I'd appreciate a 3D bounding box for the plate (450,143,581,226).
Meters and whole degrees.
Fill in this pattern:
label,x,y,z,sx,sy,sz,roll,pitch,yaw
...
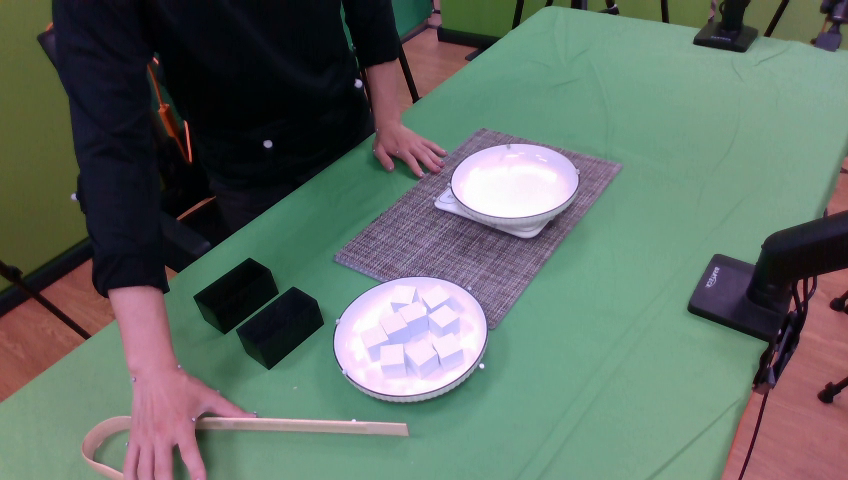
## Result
label,x,y,z,sx,sy,sz,roll,pitch,yaw
plate,0.148,-0.087,0.986,0.209,0.038,0.208,-4,41,4

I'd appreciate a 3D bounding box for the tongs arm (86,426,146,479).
label,x,y,z,sx,sy,sz,roll,pitch,yaw
tongs arm,-0.231,0.280,0.664,0.383,0.026,0.051,9,44,20

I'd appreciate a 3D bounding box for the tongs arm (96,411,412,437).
label,x,y,z,sx,sy,sz,roll,pitch,yaw
tongs arm,-0.207,0.224,0.729,0.387,0.028,0.028,-1,45,8

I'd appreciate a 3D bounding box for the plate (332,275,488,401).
label,x,y,z,sx,sy,sz,roll,pitch,yaw
plate,-0.017,0.131,0.808,0.207,0.039,0.206,-4,41,4

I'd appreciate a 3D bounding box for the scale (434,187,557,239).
label,x,y,z,sx,sy,sz,roll,pitch,yaw
scale,0.132,-0.075,1.025,0.199,0.032,0.149,22,48,30
